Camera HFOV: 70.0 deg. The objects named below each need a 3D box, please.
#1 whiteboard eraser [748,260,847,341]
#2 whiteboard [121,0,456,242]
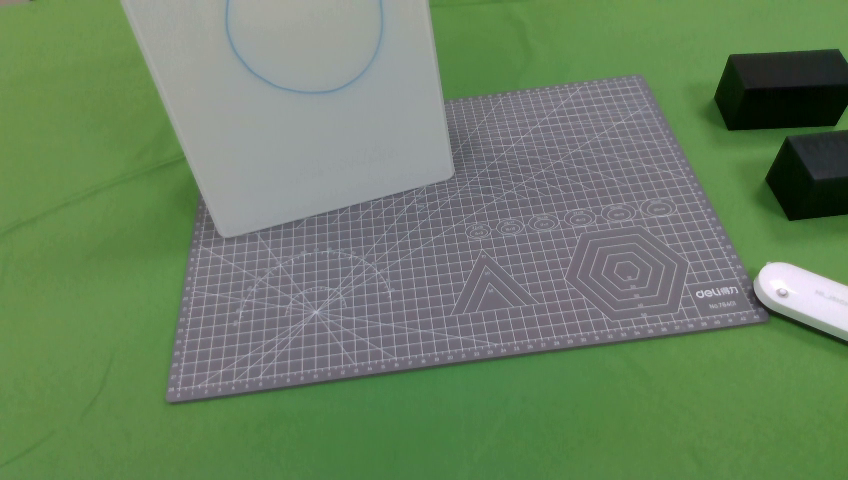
[{"bbox_3d":[0.295,0.046,0.446,0.100,0.019,0.041,24,58,21],"label":"whiteboard eraser"},{"bbox_3d":[-0.114,-0.187,0.513,0.217,0.308,0.142,-15,34,-6],"label":"whiteboard"}]
